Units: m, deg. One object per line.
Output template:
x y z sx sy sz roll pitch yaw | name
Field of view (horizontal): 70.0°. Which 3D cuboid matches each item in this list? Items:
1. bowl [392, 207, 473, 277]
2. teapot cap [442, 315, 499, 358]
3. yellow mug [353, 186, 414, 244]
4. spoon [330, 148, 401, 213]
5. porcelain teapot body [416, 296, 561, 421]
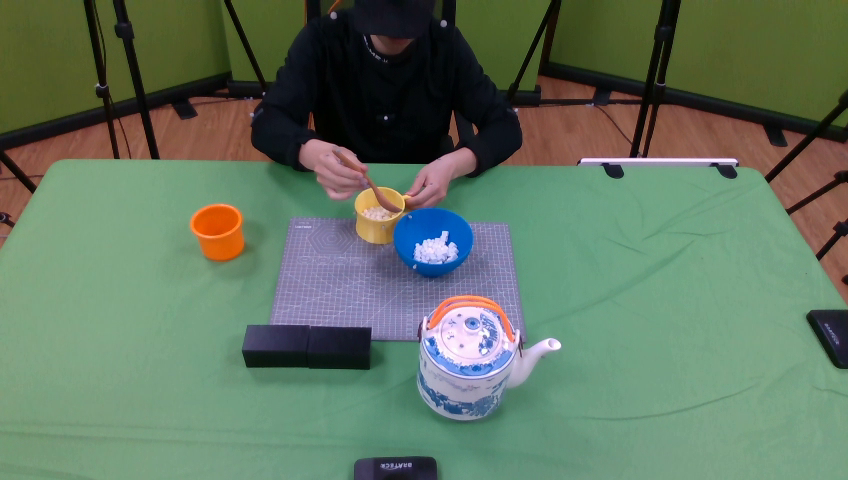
0.014 0.016 1.140 0.151 0.077 0.150 2 46 -2 | bowl
0.068 0.133 0.880 0.085 0.044 0.084 4 45 -4 | teapot cap
-0.076 -0.056 1.210 0.131 0.064 0.099 -23 53 -24 | yellow mug
-0.101 -0.101 1.051 0.041 0.195 0.021 16 67 43 | spoon
0.094 0.164 0.907 0.205 0.226 0.144 6 45 1 | porcelain teapot body
